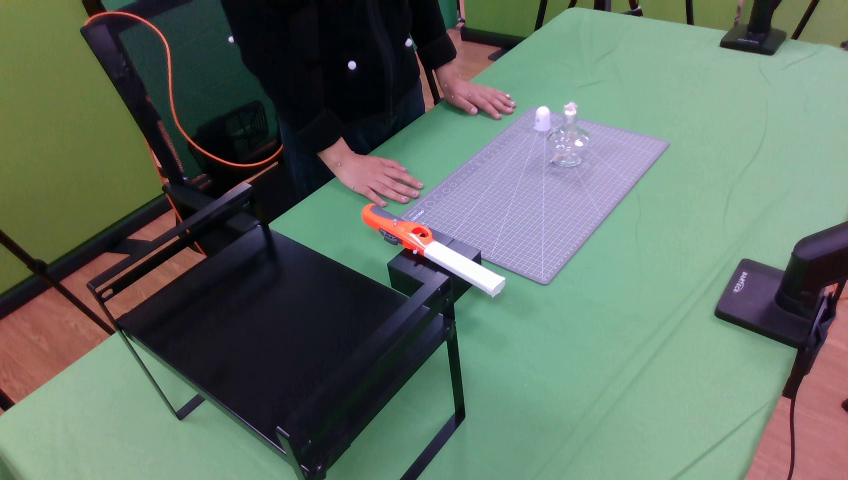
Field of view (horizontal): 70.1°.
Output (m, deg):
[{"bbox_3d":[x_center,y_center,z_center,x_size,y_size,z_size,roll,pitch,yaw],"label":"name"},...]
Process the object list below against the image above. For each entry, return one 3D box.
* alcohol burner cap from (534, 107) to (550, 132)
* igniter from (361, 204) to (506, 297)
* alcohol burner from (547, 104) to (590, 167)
[{"bbox_3d":[0.236,-0.243,1.206,0.034,0.048,0.033,-4,39,3],"label":"alcohol burner cap"},{"bbox_3d":[0.003,0.008,0.889,0.274,0.025,0.057,29,49,33],"label":"igniter"},{"bbox_3d":[0.260,-0.192,1.087,0.078,0.119,0.077,-5,42,5],"label":"alcohol burner"}]
